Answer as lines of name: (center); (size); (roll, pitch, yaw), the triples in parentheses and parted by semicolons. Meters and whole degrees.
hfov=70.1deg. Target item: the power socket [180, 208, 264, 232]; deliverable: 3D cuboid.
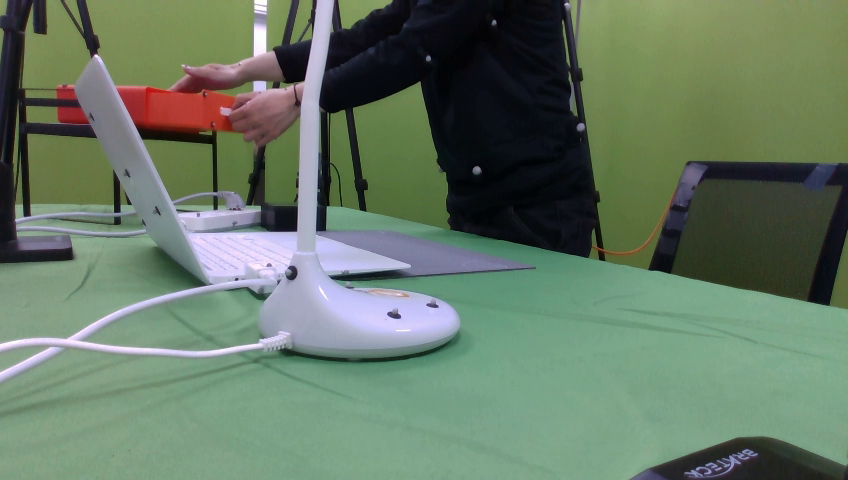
power socket: (-0.381, -0.038, 1.128); (0.072, 0.032, 0.227); (4, 8, 16)

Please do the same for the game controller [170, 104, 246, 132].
game controller: (-0.440, -0.246, 1.227); (0.097, 0.051, 0.155); (1, 7, 15)

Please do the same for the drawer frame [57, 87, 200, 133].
drawer frame: (-0.596, -0.269, 1.260); (0.213, 0.082, 0.202); (3, 8, 14)

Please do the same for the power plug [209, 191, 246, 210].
power plug: (-0.388, -0.071, 1.203); (0.072, 0.052, 0.035); (3, 7, 25)

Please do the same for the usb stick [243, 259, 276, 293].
usb stick: (-0.166, 0.035, 0.604); (0.021, 0.027, 0.059); (-8, 8, -28)

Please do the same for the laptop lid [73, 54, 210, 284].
laptop lid: (-0.341, -0.079, 0.704); (0.013, 0.242, 0.355); (-30, 23, -26)

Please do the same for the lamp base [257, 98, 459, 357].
lamp base: (-0.055, -0.014, 0.463); (0.160, 0.180, 0.180); (6, 11, 27)

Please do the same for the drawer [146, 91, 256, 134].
drawer: (-0.484, -0.259, 1.236); (0.211, 0.073, 0.195); (3, 8, 13)

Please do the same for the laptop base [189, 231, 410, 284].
laptop base: (-0.204, 0.019, 0.807); (0.237, 0.023, 0.352); (0, 7, -33)
